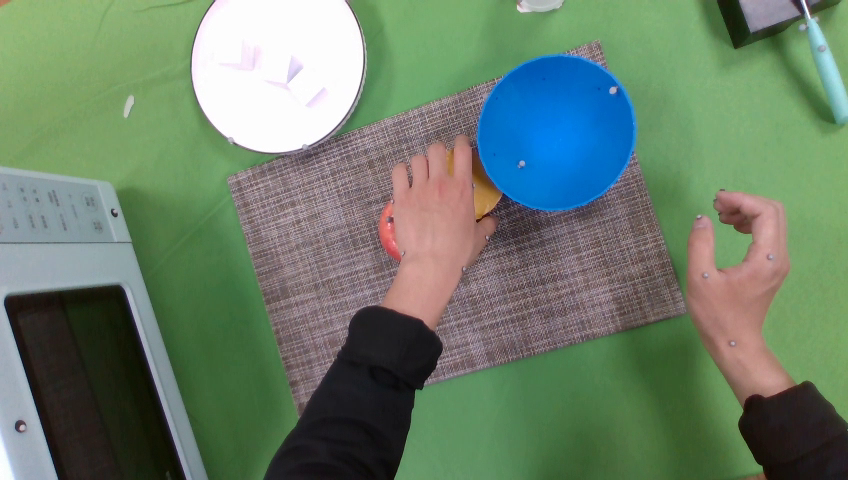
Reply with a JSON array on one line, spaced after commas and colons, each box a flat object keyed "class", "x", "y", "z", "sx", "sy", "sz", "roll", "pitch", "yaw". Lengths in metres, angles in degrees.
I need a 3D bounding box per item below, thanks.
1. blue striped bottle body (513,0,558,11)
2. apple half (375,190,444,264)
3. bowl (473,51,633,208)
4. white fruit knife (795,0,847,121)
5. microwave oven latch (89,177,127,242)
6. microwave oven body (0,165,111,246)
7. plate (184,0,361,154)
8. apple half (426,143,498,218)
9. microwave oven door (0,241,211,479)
[{"class": "blue striped bottle body", "x": 0.111, "y": -0.278, "z": 0.597, "sx": 0.063, "sy": 0.121, "sz": 0.063, "roll": 0, "pitch": 90, "yaw": 11}, {"class": "apple half", "x": -0.021, "y": -0.007, "z": 0.648, "sx": 0.053, "sy": 0.074, "sz": 0.080, "roll": -38, "pitch": 88, "yaw": 13}, {"class": "bowl", "x": 0.129, "y": -0.105, "z": 0.615, "sx": 0.151, "sy": 0.077, "sz": 0.151, "roll": 0, "pitch": 91, "yaw": 11}, {"class": "white fruit knife", "x": 0.360, "y": -0.204, "z": 0.570, "sx": 0.016, "sy": 0.027, "sz": 0.208, "roll": -24, "pitch": 104, "yaw": 27}, {"class": "microwave oven latch", "x": -0.381, "y": -0.034, "z": 0.716, "sx": 0.030, "sy": 0.029, "sz": 0.079, "roll": -19, "pitch": 88, "yaw": 9}, {"class": "microwave oven body", "x": -0.478, "y": 0.182, "z": 0.640, "sx": 0.326, "sy": 0.260, "sz": 0.441, "roll": -20, "pitch": 88, "yaw": 9}, {"class": "plate", "x": -0.170, "y": -0.200, "z": 0.693, "sx": 0.207, "sy": 0.039, "sz": 0.207, "roll": 0, "pitch": 91, "yaw": 10}, {"class": "apple half", "x": 0.039, "y": -0.065, "z": 0.653, "sx": 0.081, "sy": 0.032, "sz": 0.081, "roll": 0, "pitch": 106, "yaw": 2}, {"class": "microwave oven door", "x": -0.330, "y": 0.174, "z": 0.608, "sx": 0.039, "sy": 0.244, "sz": 0.355, "roll": -20, "pitch": 87, "yaw": 10}]
